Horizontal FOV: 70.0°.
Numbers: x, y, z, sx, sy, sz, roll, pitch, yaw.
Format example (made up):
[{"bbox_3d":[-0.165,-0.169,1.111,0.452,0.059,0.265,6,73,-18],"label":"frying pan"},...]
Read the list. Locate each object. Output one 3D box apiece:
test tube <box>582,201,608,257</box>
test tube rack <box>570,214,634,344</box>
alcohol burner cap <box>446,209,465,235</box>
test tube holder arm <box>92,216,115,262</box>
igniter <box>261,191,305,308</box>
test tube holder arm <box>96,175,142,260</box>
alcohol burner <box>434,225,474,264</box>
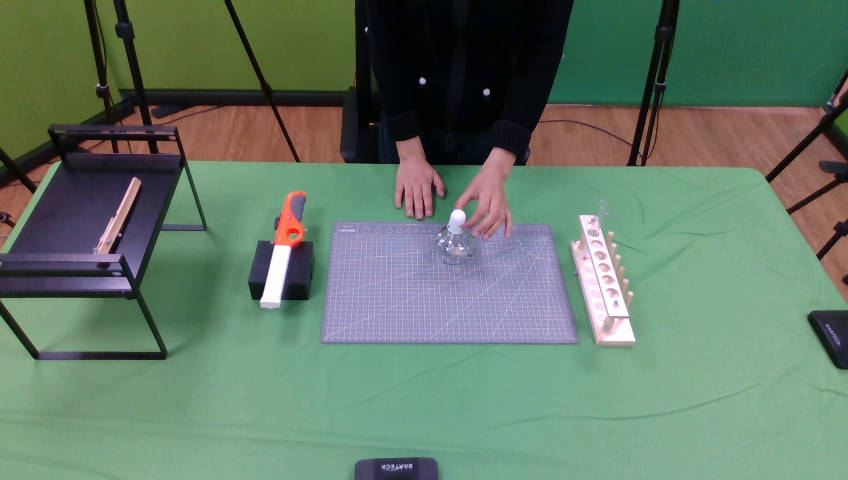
[{"bbox_3d":[0.316,-0.017,1.127,0.017,0.151,0.017,1,51,-1],"label":"test tube"},{"bbox_3d":[0.333,0.067,1.116,0.067,0.085,0.241,1,46,-3],"label":"test tube rack"},{"bbox_3d":[0.060,-0.036,1.119,0.034,0.048,0.033,4,51,-5],"label":"alcohol burner cap"},{"bbox_3d":[-0.479,-0.004,0.917,0.010,0.015,0.087,-18,43,20],"label":"test tube holder arm"},{"bbox_3d":[-0.255,0.007,1.104,0.057,0.025,0.275,5,47,-4],"label":"igniter"},{"bbox_3d":[-0.473,-0.039,0.946,0.013,0.015,0.177,-19,43,19],"label":"test tube holder arm"},{"bbox_3d":[0.058,-0.011,1.147,0.078,0.119,0.077,3,44,-2],"label":"alcohol burner"}]
